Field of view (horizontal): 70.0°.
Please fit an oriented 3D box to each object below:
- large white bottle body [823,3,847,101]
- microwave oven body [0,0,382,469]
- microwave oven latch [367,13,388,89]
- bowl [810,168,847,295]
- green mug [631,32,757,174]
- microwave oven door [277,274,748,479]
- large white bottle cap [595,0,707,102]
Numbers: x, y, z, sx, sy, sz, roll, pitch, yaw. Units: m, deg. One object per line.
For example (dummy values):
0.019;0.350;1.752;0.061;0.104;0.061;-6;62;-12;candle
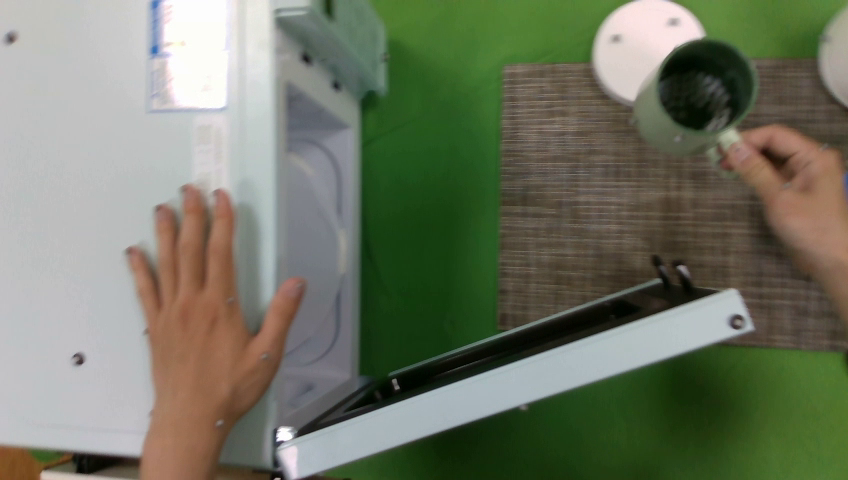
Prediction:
0.455;-0.198;0.526;0.130;0.185;0.130;-1;84;10;large white bottle body
-0.222;-0.039;0.607;0.325;0.261;0.441;0;89;10;microwave oven body
-0.056;-0.211;0.679;0.030;0.029;0.079;0;89;10;microwave oven latch
0.441;-0.007;0.579;0.151;0.077;0.151;0;89;11;bowl
0.243;-0.114;0.533;0.092;0.105;0.125;-32;85;11;green mug
0.074;0.111;0.546;0.355;0.244;0.039;-22;84;9;microwave oven door
0.243;-0.203;0.649;0.114;0.018;0.114;0;88;10;large white bottle cap
